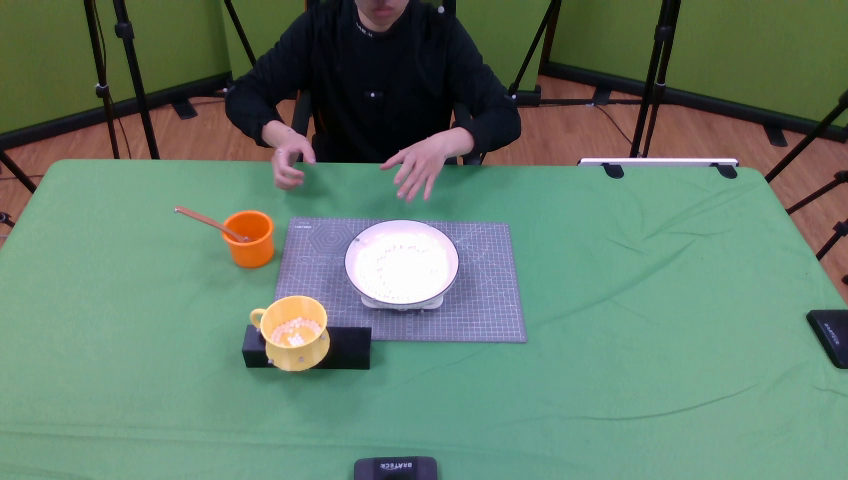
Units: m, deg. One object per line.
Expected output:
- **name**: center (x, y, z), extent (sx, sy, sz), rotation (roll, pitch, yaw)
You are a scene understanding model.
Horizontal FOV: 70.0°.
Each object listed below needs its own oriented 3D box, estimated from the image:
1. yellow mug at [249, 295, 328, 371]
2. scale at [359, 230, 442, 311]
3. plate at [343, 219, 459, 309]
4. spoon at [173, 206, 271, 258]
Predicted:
- **yellow mug**: center (-0.216, 0.139, 0.946), extent (0.130, 0.064, 0.099), rotation (17, 47, 12)
- **scale**: center (-0.043, 0.047, 1.138), extent (0.149, 0.032, 0.199), rotation (2, 46, -3)
- **plate**: center (-0.041, 0.045, 1.094), extent (0.209, 0.038, 0.208), rotation (2, 46, -2)
- **spoon**: center (-0.362, -0.017, 1.098), extent (0.021, 0.195, 0.041), rotation (-31, 43, 27)
